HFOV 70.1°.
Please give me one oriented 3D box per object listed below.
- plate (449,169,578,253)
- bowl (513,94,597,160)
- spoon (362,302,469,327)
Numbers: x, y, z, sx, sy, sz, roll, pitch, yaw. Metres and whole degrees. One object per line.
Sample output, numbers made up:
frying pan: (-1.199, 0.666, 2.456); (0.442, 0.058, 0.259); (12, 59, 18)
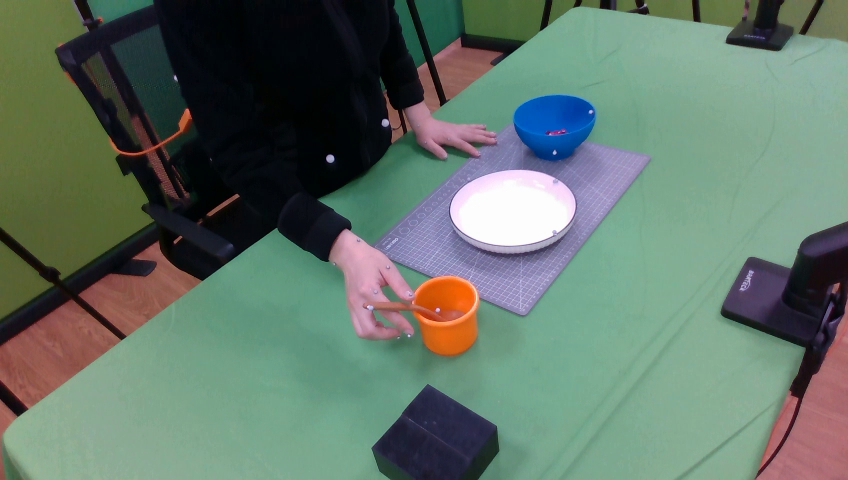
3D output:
plate: (0.147, -0.044, 0.993); (0.209, 0.038, 0.208); (-5, 40, 5)
bowl: (0.244, -0.202, 1.130); (0.151, 0.077, 0.150); (-6, 40, 5)
spoon: (-0.008, 0.092, 0.779); (0.041, 0.195, 0.021); (34, 100, 42)
